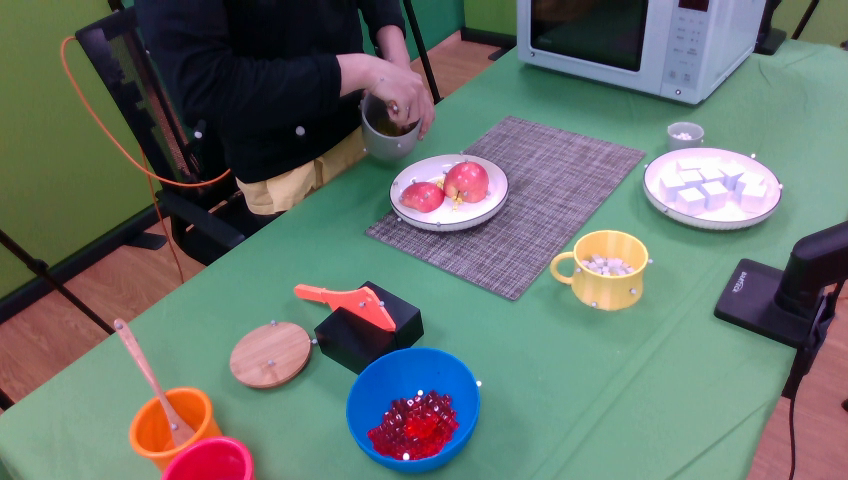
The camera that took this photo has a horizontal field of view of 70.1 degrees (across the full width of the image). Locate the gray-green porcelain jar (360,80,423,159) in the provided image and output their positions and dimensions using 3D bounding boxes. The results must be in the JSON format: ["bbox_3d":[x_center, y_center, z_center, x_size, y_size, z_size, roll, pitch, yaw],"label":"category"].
[{"bbox_3d":[-0.061,-0.209,1.078,0.106,0.126,0.105,1,78,-6],"label":"gray-green porcelain jar"}]

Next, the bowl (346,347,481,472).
[{"bbox_3d":[-0.008,0.205,0.691,0.151,0.077,0.150,-4,40,4],"label":"bowl"}]

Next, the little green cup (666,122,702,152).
[{"bbox_3d":[0.471,-0.184,1.102,0.061,0.039,0.061,-5,41,5],"label":"little green cup"}]

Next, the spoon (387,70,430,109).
[{"bbox_3d":[-0.030,-0.255,1.014,0.041,0.021,0.194,15,30,10],"label":"spoon"}]

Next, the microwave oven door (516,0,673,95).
[{"bbox_3d":[0.344,-0.458,1.256,0.353,0.245,0.039,26,51,33],"label":"microwave oven door"}]

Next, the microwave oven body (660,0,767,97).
[{"bbox_3d":[0.473,-0.516,1.313,0.438,0.261,0.327,26,51,34],"label":"microwave oven body"}]

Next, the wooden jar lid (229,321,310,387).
[{"bbox_3d":[-0.207,0.156,0.820,0.108,0.021,0.108,-3,39,3],"label":"wooden jar lid"}]

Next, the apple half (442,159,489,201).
[{"bbox_3d":[0.074,-0.110,1.047,0.080,0.053,0.075,21,46,30],"label":"apple half"}]

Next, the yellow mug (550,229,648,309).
[{"bbox_3d":[0.245,0.040,0.857,0.130,0.064,0.099,1,42,11],"label":"yellow mug"}]

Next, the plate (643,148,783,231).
[{"bbox_3d":[0.464,-0.080,0.986,0.207,0.039,0.206,-4,41,4],"label":"plate"}]

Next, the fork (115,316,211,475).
[{"bbox_3d":[-0.309,0.179,0.708,0.028,0.018,0.207,-30,89,-23],"label":"fork"}]

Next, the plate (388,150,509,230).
[{"bbox_3d":[0.043,-0.083,1.042,0.209,0.038,0.208,-4,40,4],"label":"plate"}]

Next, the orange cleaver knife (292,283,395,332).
[{"bbox_3d":[-0.115,0.092,0.835,0.209,0.077,0.012,1,32,48],"label":"orange cleaver knife"}]

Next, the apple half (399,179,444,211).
[{"bbox_3d":[-0.004,-0.087,1.045,0.081,0.033,0.081,-2,43,2],"label":"apple half"}]

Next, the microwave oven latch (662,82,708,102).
[{"bbox_3d":[0.518,-0.299,1.203,0.078,0.029,0.030,29,53,36],"label":"microwave oven latch"}]
